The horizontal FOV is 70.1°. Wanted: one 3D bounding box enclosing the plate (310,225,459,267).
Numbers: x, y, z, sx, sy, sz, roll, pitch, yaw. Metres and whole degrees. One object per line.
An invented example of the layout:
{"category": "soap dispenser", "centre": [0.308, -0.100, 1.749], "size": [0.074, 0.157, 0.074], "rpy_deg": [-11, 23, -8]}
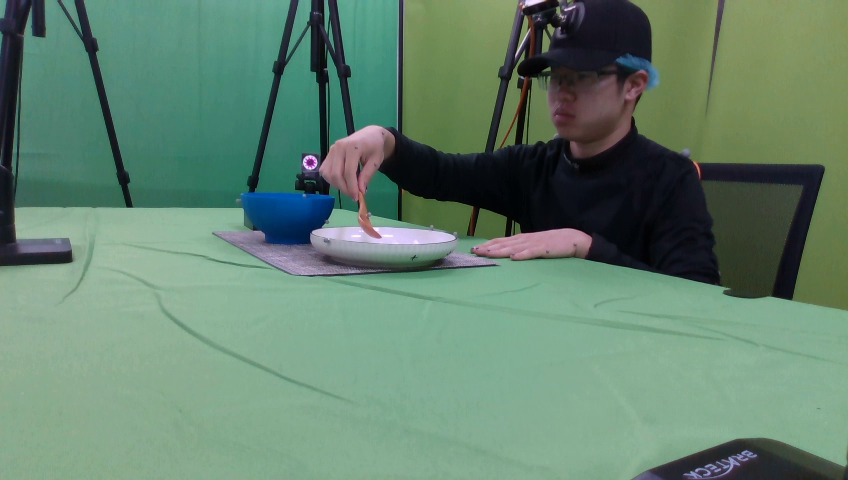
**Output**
{"category": "plate", "centre": [-0.055, 0.008, 0.851], "size": [0.208, 0.039, 0.207], "rpy_deg": [2, 7, 0]}

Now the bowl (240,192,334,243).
{"category": "bowl", "centre": [-0.223, -0.037, 0.992], "size": [0.151, 0.077, 0.151], "rpy_deg": [2, 7, 0]}

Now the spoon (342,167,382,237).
{"category": "spoon", "centre": [-0.098, -0.062, 0.918], "size": [0.042, 0.021, 0.193], "rpy_deg": [38, 18, -38]}
